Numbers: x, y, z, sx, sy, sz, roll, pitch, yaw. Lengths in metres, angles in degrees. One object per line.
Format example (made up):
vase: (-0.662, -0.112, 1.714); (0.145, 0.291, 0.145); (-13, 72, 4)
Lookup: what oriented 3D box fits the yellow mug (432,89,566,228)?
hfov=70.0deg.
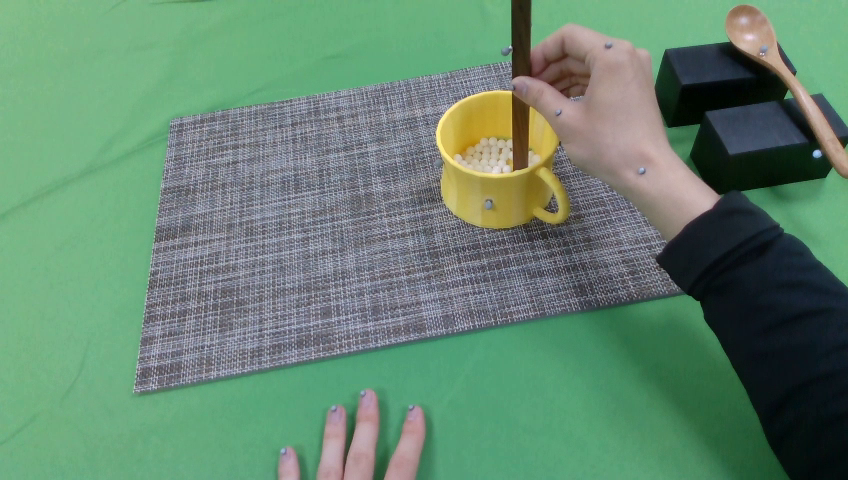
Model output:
yellow mug: (0.068, -0.060, 0.501); (0.100, 0.064, 0.129); (-36, 60, -19)

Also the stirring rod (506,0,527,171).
stirring rod: (0.070, -0.112, 0.461); (0.014, 0.178, 0.006); (12, 58, 16)

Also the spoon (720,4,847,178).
spoon: (0.297, -0.128, 0.499); (0.041, 0.022, 0.191); (-10, 56, -2)
